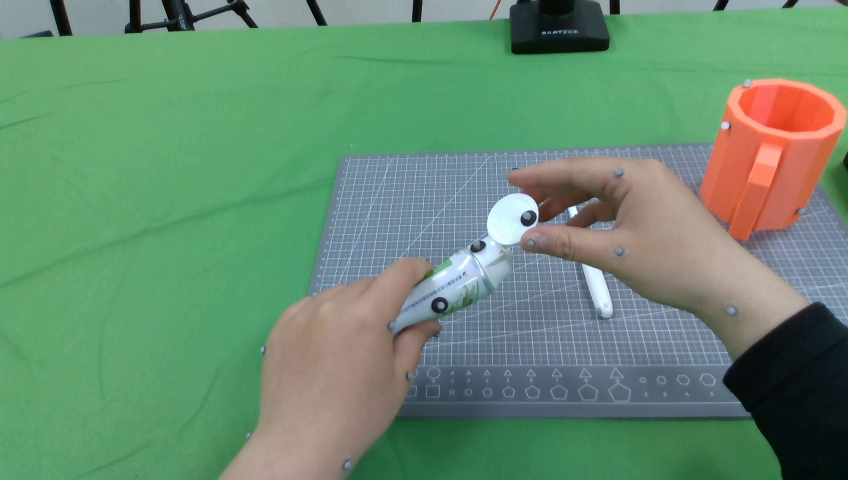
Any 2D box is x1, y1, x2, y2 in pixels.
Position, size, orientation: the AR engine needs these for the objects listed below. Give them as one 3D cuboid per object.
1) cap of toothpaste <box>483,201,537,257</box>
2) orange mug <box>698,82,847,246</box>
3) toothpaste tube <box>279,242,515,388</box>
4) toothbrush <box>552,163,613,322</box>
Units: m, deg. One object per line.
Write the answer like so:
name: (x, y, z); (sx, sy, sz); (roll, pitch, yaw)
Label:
cap of toothpaste: (0.054, -0.006, 0.370); (0.037, 0.011, 0.037); (-21, 53, 30)
orange mug: (0.277, -0.057, 0.495); (0.083, 0.102, 0.126); (20, 46, 24)
toothpaste tube: (-0.014, 0.052, 0.387); (0.165, 0.055, 0.034); (-32, 69, 2)
toothbrush: (0.133, -0.005, 0.516); (0.014, 0.017, 0.180); (3, 46, -7)
